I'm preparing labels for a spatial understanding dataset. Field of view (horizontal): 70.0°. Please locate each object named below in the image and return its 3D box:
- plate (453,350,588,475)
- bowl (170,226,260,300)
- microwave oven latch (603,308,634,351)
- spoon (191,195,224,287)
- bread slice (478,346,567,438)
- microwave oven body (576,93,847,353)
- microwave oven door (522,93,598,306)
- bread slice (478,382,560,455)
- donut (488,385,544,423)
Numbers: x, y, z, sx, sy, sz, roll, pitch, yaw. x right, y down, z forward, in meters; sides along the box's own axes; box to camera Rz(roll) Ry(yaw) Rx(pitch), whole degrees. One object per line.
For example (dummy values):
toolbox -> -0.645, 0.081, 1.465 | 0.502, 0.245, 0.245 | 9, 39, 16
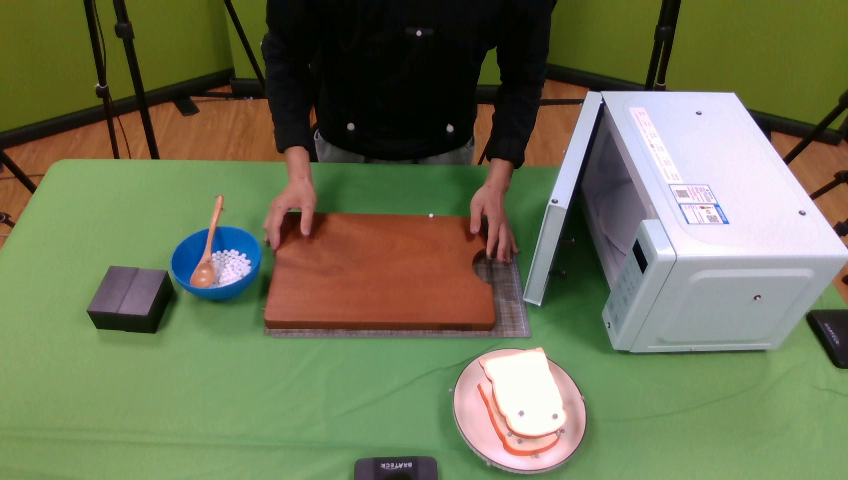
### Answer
plate -> 0.147, 0.267, 0.943 | 0.208, 0.039, 0.206 | 2, 46, -2
bowl -> -0.364, 0.054, 1.081 | 0.151, 0.077, 0.150 | 2, 45, -2
microwave oven latch -> 0.333, 0.153, 1.044 | 0.030, 0.029, 0.078 | 0, 45, -3
spoon -> -0.382, 0.001, 1.088 | 0.041, 0.022, 0.193 | 0, 66, 7
bread slice -> 0.153, 0.226, 0.901 | 0.107, 0.018, 0.133 | -11, 54, -16
microwave oven body -> 0.475, -0.041, 1.109 | 0.326, 0.261, 0.438 | -1, 45, -4
microwave oven door -> 0.259, -0.084, 1.127 | 0.039, 0.245, 0.354 | 17, 47, 12
bread slice -> 0.154, 0.268, 0.944 | 0.105, 0.019, 0.130 | -10, 47, -12
donut -> 0.148, 0.241, 0.928 | 0.099, 0.048, 0.098 | -3, 41, 2
